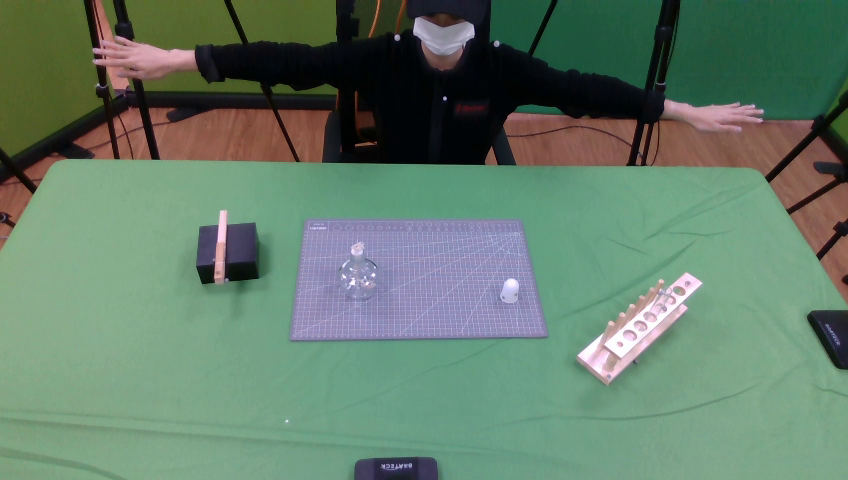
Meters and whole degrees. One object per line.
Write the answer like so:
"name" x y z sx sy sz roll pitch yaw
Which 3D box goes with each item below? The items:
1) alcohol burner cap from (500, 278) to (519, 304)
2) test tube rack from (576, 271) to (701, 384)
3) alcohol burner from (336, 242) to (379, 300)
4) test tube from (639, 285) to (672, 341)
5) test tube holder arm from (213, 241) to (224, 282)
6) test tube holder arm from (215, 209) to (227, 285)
"alcohol burner cap" 0.157 0.090 1.104 0.034 0.048 0.033 2 46 -2
"test tube rack" 0.373 0.138 1.047 0.242 0.085 0.066 -31 56 -29
"alcohol burner" -0.118 0.050 1.072 0.078 0.120 0.077 2 44 -1
"test tube" 0.374 0.123 0.994 0.017 0.151 0.017 1 50 -1
"test tube holder arm" -0.359 0.037 1.061 0.015 0.010 0.087 -6 47 -9
"test tube holder arm" -0.367 0.008 1.095 0.015 0.013 0.177 -6 47 -9
